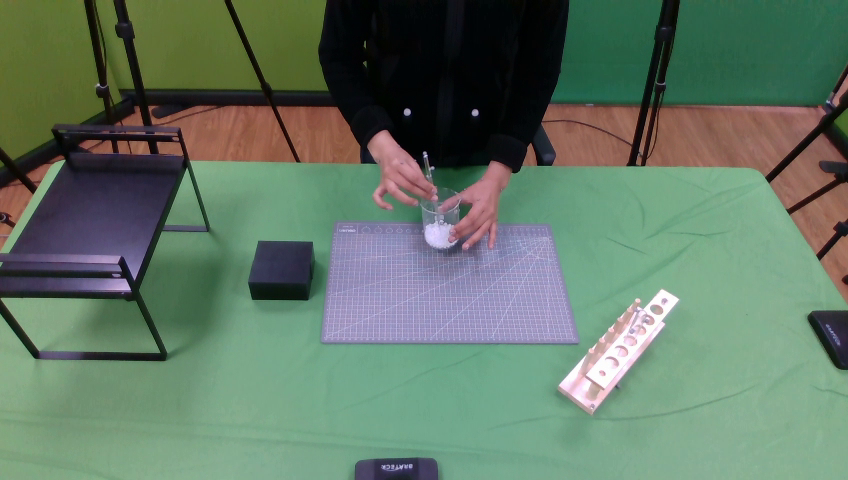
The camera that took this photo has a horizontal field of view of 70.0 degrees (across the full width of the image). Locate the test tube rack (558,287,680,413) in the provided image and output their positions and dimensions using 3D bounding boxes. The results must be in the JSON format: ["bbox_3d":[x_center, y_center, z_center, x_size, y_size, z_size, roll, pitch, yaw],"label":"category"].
[{"bbox_3d":[0.326,0.170,1.009,0.066,0.085,0.242,36,54,26],"label":"test tube rack"}]

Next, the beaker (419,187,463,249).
[{"bbox_3d":[0.035,-0.040,1.141,0.084,0.101,0.073,-17,45,-11],"label":"beaker"}]

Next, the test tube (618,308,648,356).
[{"bbox_3d":[0.326,0.155,0.955,0.017,0.151,0.017,-1,50,1],"label":"test tube"}]

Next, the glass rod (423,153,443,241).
[{"bbox_3d":[0.018,-0.073,1.091,0.008,0.201,0.008,-7,41,7],"label":"glass rod"}]
